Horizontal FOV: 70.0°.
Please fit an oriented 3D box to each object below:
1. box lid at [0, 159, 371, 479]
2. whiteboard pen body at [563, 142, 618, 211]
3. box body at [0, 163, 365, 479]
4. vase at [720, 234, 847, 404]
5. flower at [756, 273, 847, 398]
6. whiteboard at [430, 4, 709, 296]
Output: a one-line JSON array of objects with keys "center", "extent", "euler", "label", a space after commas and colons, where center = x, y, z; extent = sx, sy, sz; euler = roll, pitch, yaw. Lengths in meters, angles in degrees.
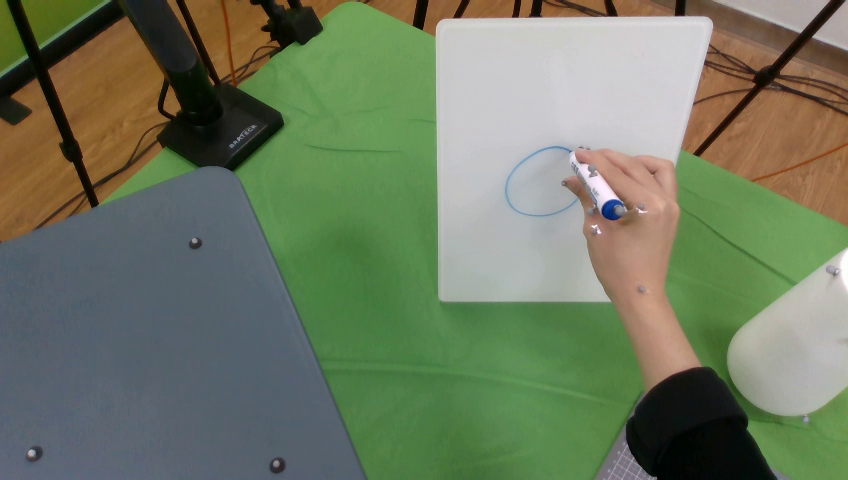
[{"center": [-0.218, 0.105, 0.453], "extent": [0.263, 0.015, 0.368], "euler": [-24, 62, -13], "label": "box lid"}, {"center": [0.126, -0.056, 0.476], "extent": [0.017, 0.017, 0.139], "euler": [-2, 26, 0], "label": "whiteboard pen body"}, {"center": [-0.215, 0.146, 0.515], "extent": [0.254, 0.162, 0.360], "euler": [-24, 62, -13], "label": "box body"}, {"center": [0.339, 0.072, 0.530], "extent": [0.098, 0.202, 0.097], "euler": [-1, 57, 1], "label": "vase"}, {"center": [0.340, 0.016, 0.466], "extent": [0.044, 0.364, 0.038], "euler": [24, 45, 19], "label": "flower"}, {"center": [0.118, -0.102, 0.612], "extent": [0.217, 0.308, 0.142], "euler": [0, 40, 2], "label": "whiteboard"}]
